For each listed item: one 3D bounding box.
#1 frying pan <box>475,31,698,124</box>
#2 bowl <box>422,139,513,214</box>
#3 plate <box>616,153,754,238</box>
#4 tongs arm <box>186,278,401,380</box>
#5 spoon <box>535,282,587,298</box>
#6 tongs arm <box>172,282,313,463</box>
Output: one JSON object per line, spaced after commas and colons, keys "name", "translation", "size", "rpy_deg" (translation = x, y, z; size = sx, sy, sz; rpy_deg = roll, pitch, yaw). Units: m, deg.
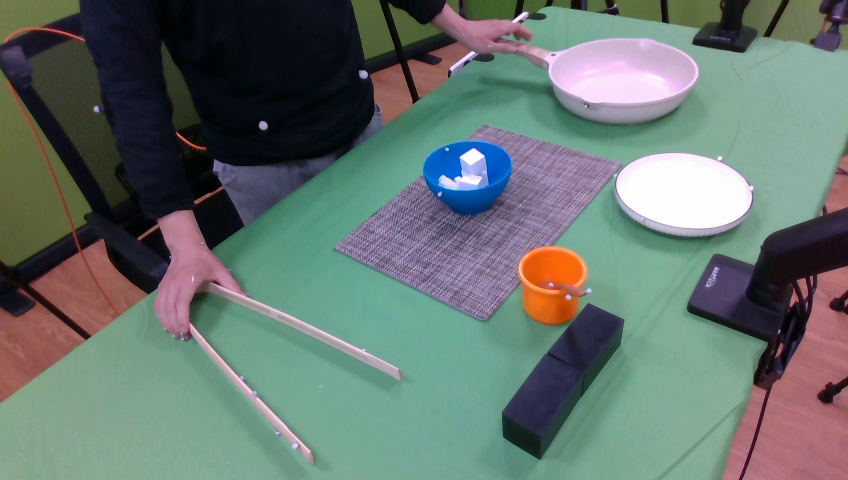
{"name": "frying pan", "translation": [0.320, -0.371, 1.290], "size": [0.485, 0.103, 0.307], "rpy_deg": [28, 50, 23]}
{"name": "bowl", "translation": [0.075, -0.098, 1.021], "size": [0.151, 0.077, 0.150], "rpy_deg": [-4, 41, 4]}
{"name": "plate", "translation": [0.416, -0.069, 0.977], "size": [0.207, 0.039, 0.206], "rpy_deg": [-4, 40, 4]}
{"name": "tongs arm", "translation": [-0.194, 0.119, 0.851], "size": [0.385, 0.028, 0.028], "rpy_deg": [18, 50, 27]}
{"name": "spoon", "translation": [0.176, 0.063, 0.774], "size": [0.041, 0.194, 0.021], "rpy_deg": [-3, 85, 1]}
{"name": "tongs arm", "translation": [-0.246, 0.160, 0.806], "size": [0.381, 0.026, 0.051], "rpy_deg": [29, 52, 36]}
